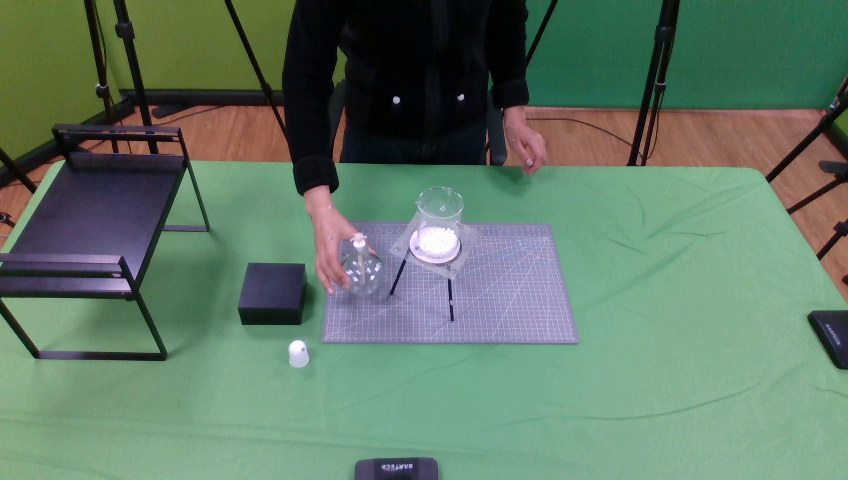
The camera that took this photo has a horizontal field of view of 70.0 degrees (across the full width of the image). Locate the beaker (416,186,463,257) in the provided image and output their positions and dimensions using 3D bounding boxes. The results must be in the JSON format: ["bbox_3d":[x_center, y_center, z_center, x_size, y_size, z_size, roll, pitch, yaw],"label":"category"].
[{"bbox_3d":[0.024,-0.029,0.984,0.074,0.101,0.083,19,49,14],"label":"beaker"}]

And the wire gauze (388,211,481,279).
[{"bbox_3d":[0.018,0.003,1.020,0.125,0.011,0.121,20,47,18],"label":"wire gauze"}]

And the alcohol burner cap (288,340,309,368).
[{"bbox_3d":[-0.207,0.183,0.991,0.034,0.048,0.033,3,47,-3],"label":"alcohol burner cap"}]

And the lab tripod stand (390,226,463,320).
[{"bbox_3d":[0.014,0.053,1.063,0.148,0.132,0.147,1,48,-1],"label":"lab tripod stand"}]

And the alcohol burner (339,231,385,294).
[{"bbox_3d":[-0.105,0.034,1.021,0.078,0.120,0.077,1,43,0],"label":"alcohol burner"}]
